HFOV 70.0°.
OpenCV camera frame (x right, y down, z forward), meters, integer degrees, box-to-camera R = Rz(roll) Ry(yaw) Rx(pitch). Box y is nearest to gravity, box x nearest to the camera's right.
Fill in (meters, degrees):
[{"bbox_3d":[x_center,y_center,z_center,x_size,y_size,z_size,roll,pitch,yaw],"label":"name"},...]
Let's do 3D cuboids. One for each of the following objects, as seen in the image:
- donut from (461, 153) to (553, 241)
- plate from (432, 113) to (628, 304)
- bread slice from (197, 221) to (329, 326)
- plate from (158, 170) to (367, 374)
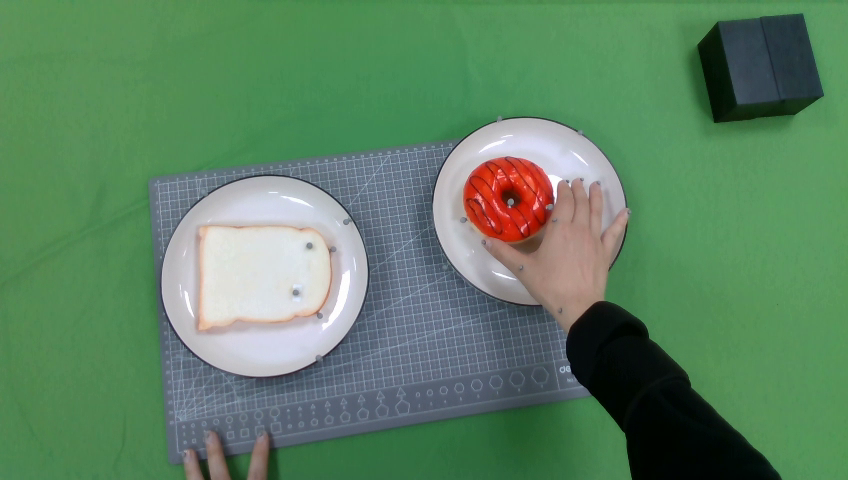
[{"bbox_3d":[0.088,-0.046,0.641,0.099,0.048,0.098,1,71,-1],"label":"donut"},{"bbox_3d":[0.111,-0.033,0.650,0.208,0.039,0.206,1,79,-3],"label":"plate"},{"bbox_3d":[-0.167,0.029,0.625,0.134,0.018,0.106,-5,80,-5],"label":"bread slice"},{"bbox_3d":[-0.162,0.033,0.624,0.209,0.038,0.208,1,79,-3],"label":"plate"}]
